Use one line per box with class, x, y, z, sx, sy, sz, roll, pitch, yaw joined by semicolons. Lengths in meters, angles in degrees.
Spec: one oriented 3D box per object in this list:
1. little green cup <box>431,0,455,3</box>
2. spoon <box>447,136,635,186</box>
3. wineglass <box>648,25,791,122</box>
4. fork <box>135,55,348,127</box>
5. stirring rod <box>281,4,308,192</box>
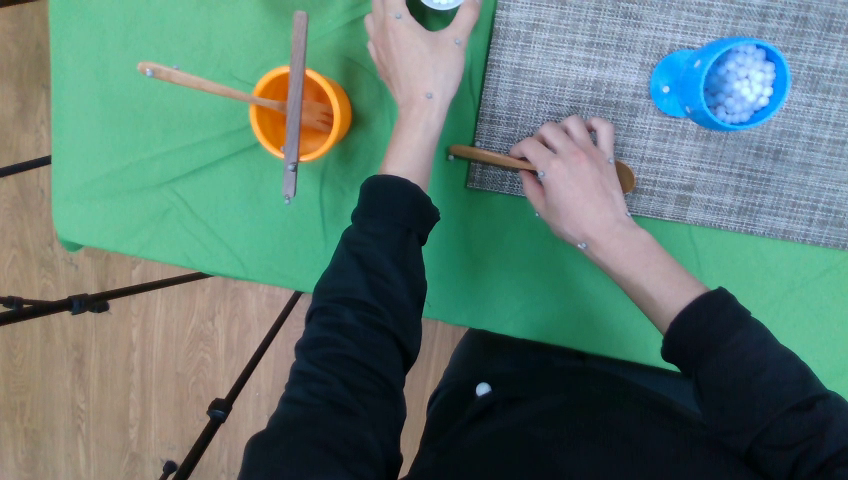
little green cup;0.019;-0.258;0.581;0.061;0.038;0.062;3;105;11
spoon;0.118;-0.086;0.623;0.193;0.021;0.042;10;137;7
wineglass;0.240;-0.140;0.512;0.073;0.171;0.074;2;106;8
fork;-0.166;-0.143;0.585;0.209;0.018;0.028;7;120;-40
stirring rod;-0.125;-0.132;0.581;0.014;0.006;0.177;10;107;6
